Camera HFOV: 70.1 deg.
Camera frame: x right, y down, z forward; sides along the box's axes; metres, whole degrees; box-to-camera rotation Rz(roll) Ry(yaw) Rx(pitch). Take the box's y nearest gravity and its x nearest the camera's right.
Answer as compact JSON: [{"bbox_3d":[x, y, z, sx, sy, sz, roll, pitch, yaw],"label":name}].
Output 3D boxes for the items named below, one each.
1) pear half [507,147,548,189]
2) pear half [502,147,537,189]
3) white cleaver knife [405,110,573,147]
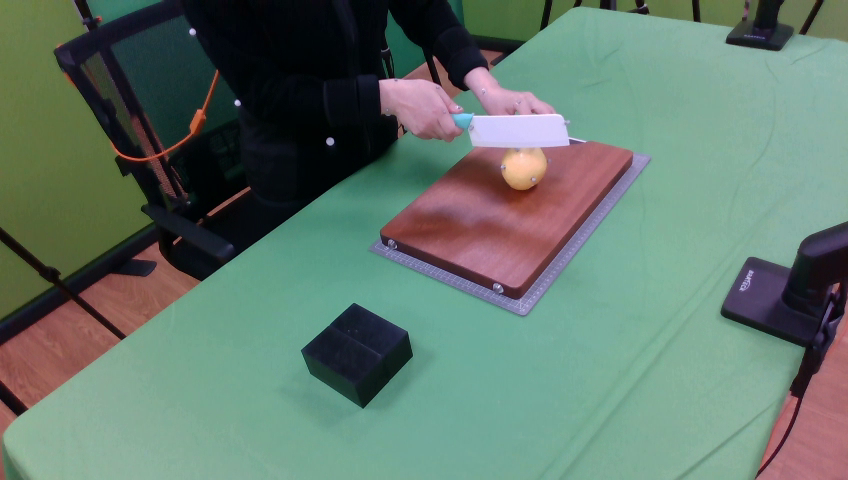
[{"bbox_3d":[0.175,-0.145,1.011,0.076,0.110,0.056,27,51,30],"label":"pear half"},{"bbox_3d":[0.152,-0.119,1.000,0.070,0.088,0.031,28,54,30],"label":"pear half"},{"bbox_3d":[0.093,-0.173,0.958,0.284,0.066,0.021,8,46,30],"label":"white cleaver knife"}]
